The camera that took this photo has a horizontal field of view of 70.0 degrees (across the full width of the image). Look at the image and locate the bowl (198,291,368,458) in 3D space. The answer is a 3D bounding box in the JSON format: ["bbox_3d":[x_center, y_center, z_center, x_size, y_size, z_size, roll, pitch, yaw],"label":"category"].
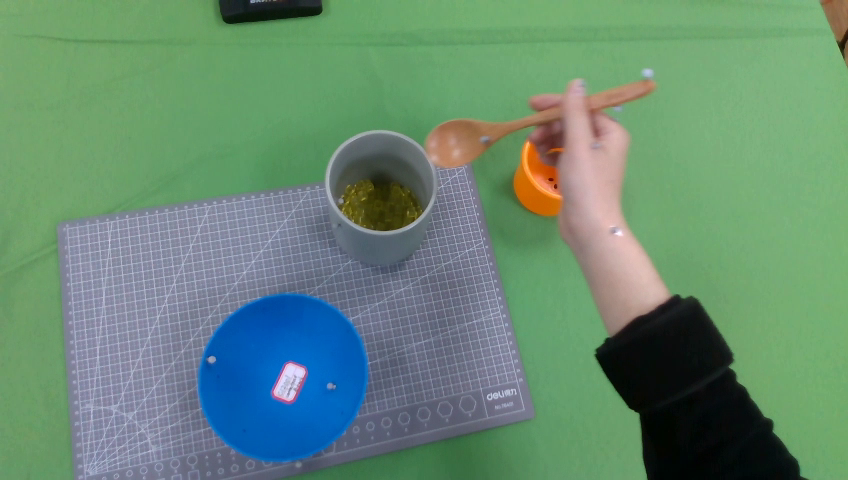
[{"bbox_3d":[-0.130,0.130,0.582,0.151,0.077,0.150,2,73,-6],"label":"bowl"}]

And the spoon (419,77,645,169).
[{"bbox_3d":[0.079,-0.095,0.489,0.193,0.022,0.041,-11,89,35],"label":"spoon"}]

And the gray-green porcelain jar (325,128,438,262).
[{"bbox_3d":[-0.045,-0.038,0.615,0.106,0.127,0.105,2,73,-6],"label":"gray-green porcelain jar"}]
